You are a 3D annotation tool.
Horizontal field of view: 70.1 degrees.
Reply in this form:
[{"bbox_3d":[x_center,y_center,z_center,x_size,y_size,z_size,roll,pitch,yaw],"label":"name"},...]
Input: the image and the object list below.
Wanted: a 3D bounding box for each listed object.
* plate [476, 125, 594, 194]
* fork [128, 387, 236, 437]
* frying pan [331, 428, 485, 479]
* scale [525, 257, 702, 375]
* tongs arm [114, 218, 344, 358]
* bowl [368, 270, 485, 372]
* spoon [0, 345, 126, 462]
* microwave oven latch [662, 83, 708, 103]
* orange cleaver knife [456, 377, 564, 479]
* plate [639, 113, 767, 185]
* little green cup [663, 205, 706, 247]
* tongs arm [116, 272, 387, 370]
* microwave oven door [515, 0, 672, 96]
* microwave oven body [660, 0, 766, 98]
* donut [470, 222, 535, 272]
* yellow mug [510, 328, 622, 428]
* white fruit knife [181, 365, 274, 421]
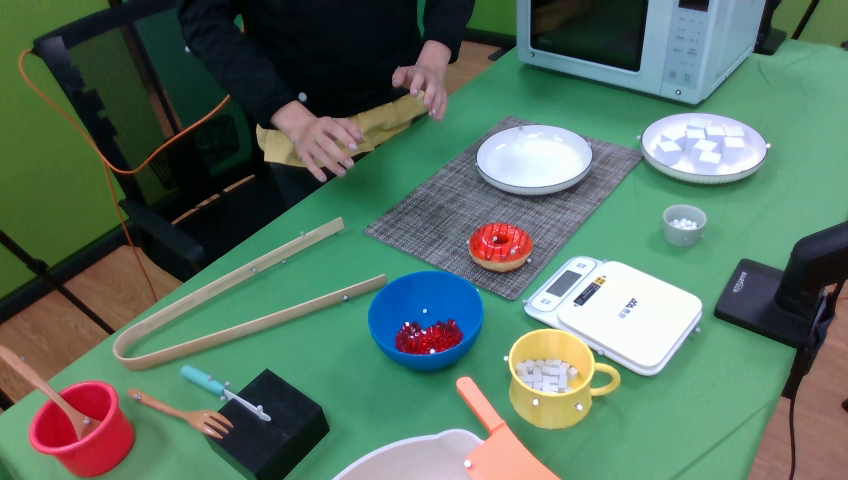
[{"bbox_3d":[0.199,-0.141,1.093,0.209,0.038,0.208,-4,40,4],"label":"plate"},{"bbox_3d":[-0.305,0.207,0.744,0.206,0.019,0.028,3,42,36],"label":"fork"},{"bbox_3d":[-0.089,0.306,0.564,0.487,0.103,0.306,10,41,7],"label":"frying pan"},{"bbox_3d":[0.254,0.091,0.821,0.199,0.032,0.149,28,51,35],"label":"scale"},{"bbox_3d":[-0.280,0.067,0.927,0.386,0.026,0.050,-29,48,-23],"label":"tongs arm"},{"bbox_3d":[0.007,0.118,0.791,0.151,0.077,0.150,-4,40,4],"label":"bowl"},{"bbox_3d":[-0.434,0.191,0.720,0.194,0.021,0.042,47,53,-7],"label":"spoon"},{"bbox_3d":[0.518,-0.296,1.204,0.078,0.029,0.030,28,52,35],"label":"microwave oven latch"},{"bbox_3d":[0.081,0.220,0.611,0.077,0.012,0.209,-26,43,-22],"label":"orange cleaver knife"},{"bbox_3d":[0.489,-0.157,1.074,0.207,0.039,0.206,-4,40,4],"label":"plate"},{"bbox_3d":[0.396,-0.020,0.926,0.061,0.039,0.061,-4,40,4],"label":"little green cup"},{"bbox_3d":[-0.237,0.114,0.869,0.389,0.028,0.028,-18,48,-12],"label":"tongs arm"},{"bbox_3d":[0.343,-0.455,1.259,0.353,0.245,0.039,26,51,33],"label":"microwave oven door"},{"bbox_3d":[0.472,-0.513,1.317,0.438,0.261,0.327,26,51,34],"label":"microwave oven body"},{"bbox_3d":[0.119,0.009,0.923,0.099,0.048,0.098,-4,38,3],"label":"donut"},{"bbox_3d":[0.169,0.164,0.722,0.130,0.064,0.099,0,40,8],"label":"yellow mug"},{"bbox_3d":[-0.245,0.187,0.747,0.205,0.027,0.016,9,41,40],"label":"white fruit knife"}]
